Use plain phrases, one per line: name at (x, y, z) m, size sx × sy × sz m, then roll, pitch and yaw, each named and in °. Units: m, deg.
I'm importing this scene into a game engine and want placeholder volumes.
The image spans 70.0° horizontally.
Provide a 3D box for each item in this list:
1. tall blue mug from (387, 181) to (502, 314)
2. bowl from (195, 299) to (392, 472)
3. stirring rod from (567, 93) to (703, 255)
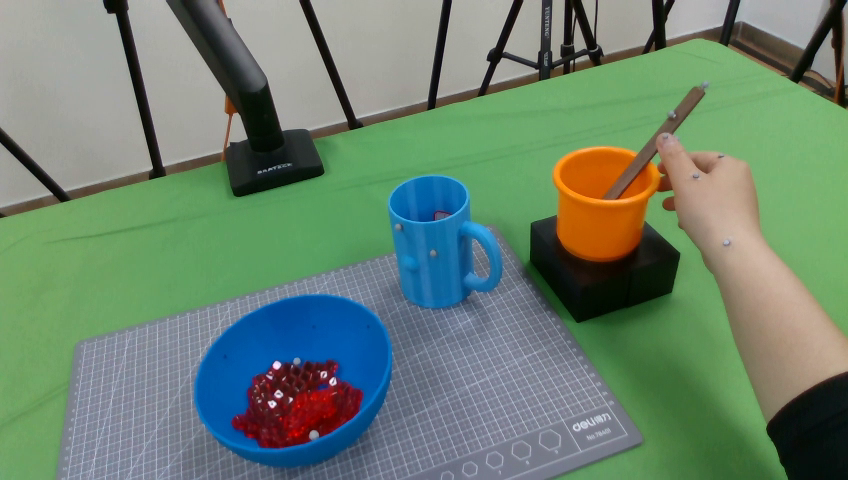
tall blue mug at (0.024, 0.009, 0.586) m, size 0.107 × 0.109 × 0.077 m, roll 2°, pitch 40°, yaw 10°
bowl at (-0.095, 0.127, 0.486) m, size 0.151 × 0.077 × 0.150 m, roll -4°, pitch 39°, yaw 3°
stirring rod at (0.188, -0.058, 0.546) m, size 0.176 × 0.006 × 0.014 m, roll -53°, pitch 43°, yaw 11°
